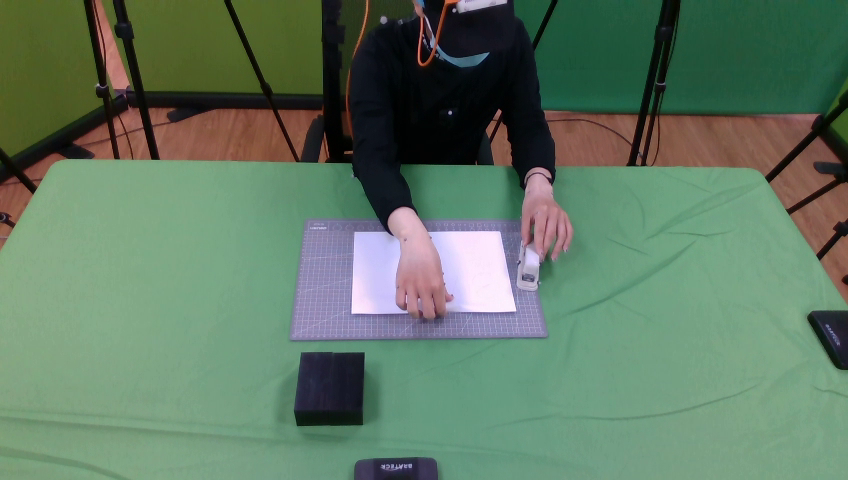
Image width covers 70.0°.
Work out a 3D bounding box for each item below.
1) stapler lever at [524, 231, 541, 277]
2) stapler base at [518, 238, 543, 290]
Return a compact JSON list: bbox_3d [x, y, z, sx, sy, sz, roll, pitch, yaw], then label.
[{"bbox_3d":[0.207,0.020,1.149,0.027,0.040,0.117,11,45,5],"label":"stapler lever"},{"bbox_3d":[0.207,0.039,1.166,0.041,0.024,0.130,11,45,5],"label":"stapler base"}]
